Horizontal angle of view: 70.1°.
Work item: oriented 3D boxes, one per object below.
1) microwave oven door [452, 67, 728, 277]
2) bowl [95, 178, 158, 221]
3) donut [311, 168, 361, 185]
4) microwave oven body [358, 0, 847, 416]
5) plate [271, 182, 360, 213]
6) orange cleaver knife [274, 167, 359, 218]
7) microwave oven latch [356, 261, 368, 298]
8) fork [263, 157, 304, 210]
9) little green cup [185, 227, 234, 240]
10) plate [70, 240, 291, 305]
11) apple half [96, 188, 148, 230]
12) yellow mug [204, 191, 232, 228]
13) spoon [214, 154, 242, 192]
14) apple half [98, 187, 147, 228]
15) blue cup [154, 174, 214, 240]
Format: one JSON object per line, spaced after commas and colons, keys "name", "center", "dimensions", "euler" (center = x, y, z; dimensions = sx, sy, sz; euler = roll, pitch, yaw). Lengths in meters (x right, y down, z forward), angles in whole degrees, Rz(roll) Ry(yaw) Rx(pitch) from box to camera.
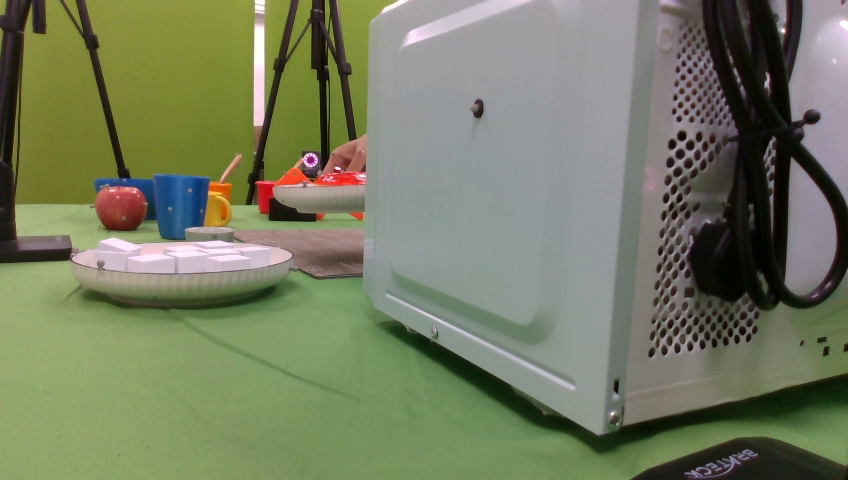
{"name": "microwave oven door", "center": [0.196, -0.094, 0.800], "dimensions": [0.354, 0.243, 0.039], "euler": [8, 9, 36]}
{"name": "bowl", "center": [-0.576, -0.081, 1.217], "dimensions": [0.151, 0.077, 0.151], "euler": [3, 8, 0]}
{"name": "donut", "center": [-0.106, -0.073, 0.829], "dimensions": [0.099, 0.048, 0.099], "euler": [0, 9, 0]}
{"name": "microwave oven body", "center": [0.210, -0.047, 0.475], "dimensions": [0.444, 0.260, 0.324], "euler": [-1, 7, -28]}
{"name": "plate", "center": [-0.101, -0.062, 0.827], "dimensions": [0.209, 0.038, 0.209], "euler": [-2, 7, 1]}
{"name": "orange cleaver knife", "center": [-0.238, -0.091, 1.381], "dimensions": [0.212, 0.077, 0.012], "euler": [31, 0, -19]}
{"name": "microwave oven latch", "center": [-0.020, 0.033, 0.530], "dimensions": [0.079, 0.029, 0.030], "euler": [-1, 7, -27]}
{"name": "fork", "center": [-0.345, -0.143, 1.505], "dimensions": [0.028, 0.019, 0.207], "euler": [-4, 46, 28]}
{"name": "little green cup", "center": [-0.285, 0.005, 0.805], "dimensions": [0.061, 0.038, 0.061], "euler": [2, 8, 0]}
{"name": "plate", "center": [-0.242, 0.031, 0.618], "dimensions": [0.208, 0.039, 0.207], "euler": [2, 7, 0]}
{"name": "apple half", "center": [-0.517, -0.052, 1.036], "dimensions": [0.081, 0.074, 0.053], "euler": [2, 10, -26]}
{"name": "yellow mug", "center": [-0.415, -0.057, 1.131], "dimensions": [0.130, 0.064, 0.100], "euler": [6, 7, 16]}
{"name": "spoon", "center": [-0.439, -0.124, 1.318], "dimensions": [0.041, 0.193, 0.022], "euler": [6, -36, 16]}
{"name": "apple half", "center": [-0.534, -0.059, 1.071], "dimensions": [0.082, 0.081, 0.032], "euler": [-1, 11, -25]}
{"name": "blue cup", "center": [-0.391, -0.053, 0.978], "dimensions": [0.093, 0.100, 0.092], "euler": [3, 6, 0]}
